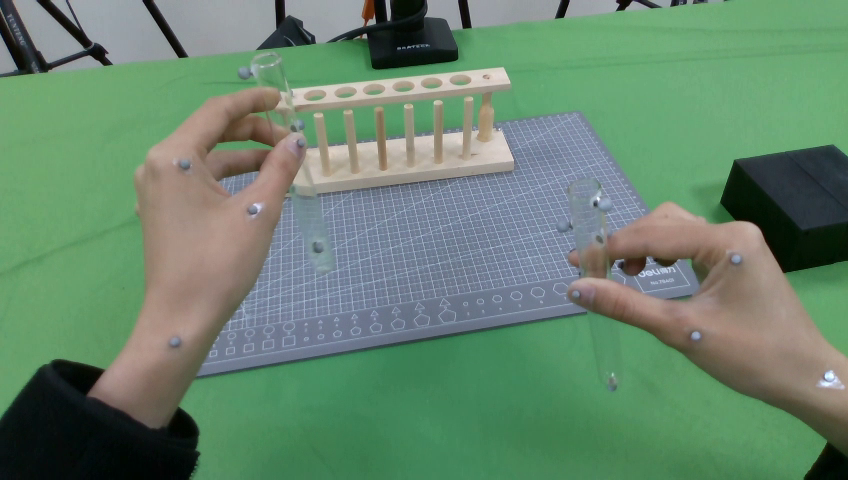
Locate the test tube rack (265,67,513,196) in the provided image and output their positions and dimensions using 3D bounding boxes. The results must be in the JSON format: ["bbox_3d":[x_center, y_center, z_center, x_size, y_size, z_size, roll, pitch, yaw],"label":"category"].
[{"bbox_3d":[-0.032,-0.112,0.621,0.242,0.086,0.066,-7,43,-4],"label":"test tube rack"}]

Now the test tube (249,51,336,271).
[{"bbox_3d":[-0.073,-0.037,0.354,0.017,0.152,0.017,-4,42,4],"label":"test tube"}]

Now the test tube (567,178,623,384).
[{"bbox_3d":[0.093,0.030,0.322,0.017,0.152,0.017,-12,40,11],"label":"test tube"}]
